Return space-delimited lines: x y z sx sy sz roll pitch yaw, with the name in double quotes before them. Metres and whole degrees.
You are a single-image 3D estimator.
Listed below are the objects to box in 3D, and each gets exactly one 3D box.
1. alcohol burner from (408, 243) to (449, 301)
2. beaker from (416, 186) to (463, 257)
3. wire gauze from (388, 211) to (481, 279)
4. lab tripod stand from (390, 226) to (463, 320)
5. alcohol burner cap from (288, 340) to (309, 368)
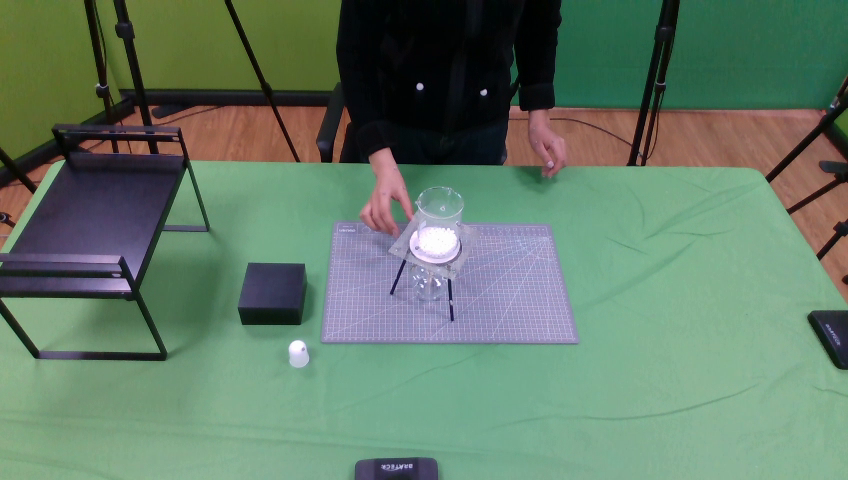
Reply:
"alcohol burner" 0.010 0.052 1.078 0.078 0.120 0.077 1 45 -1
"beaker" 0.024 -0.029 0.984 0.074 0.101 0.083 19 48 14
"wire gauze" 0.018 0.003 1.020 0.125 0.011 0.121 20 47 18
"lab tripod stand" 0.014 0.053 1.063 0.148 0.132 0.147 1 48 -1
"alcohol burner cap" -0.207 0.183 0.991 0.034 0.048 0.033 2 47 -2
